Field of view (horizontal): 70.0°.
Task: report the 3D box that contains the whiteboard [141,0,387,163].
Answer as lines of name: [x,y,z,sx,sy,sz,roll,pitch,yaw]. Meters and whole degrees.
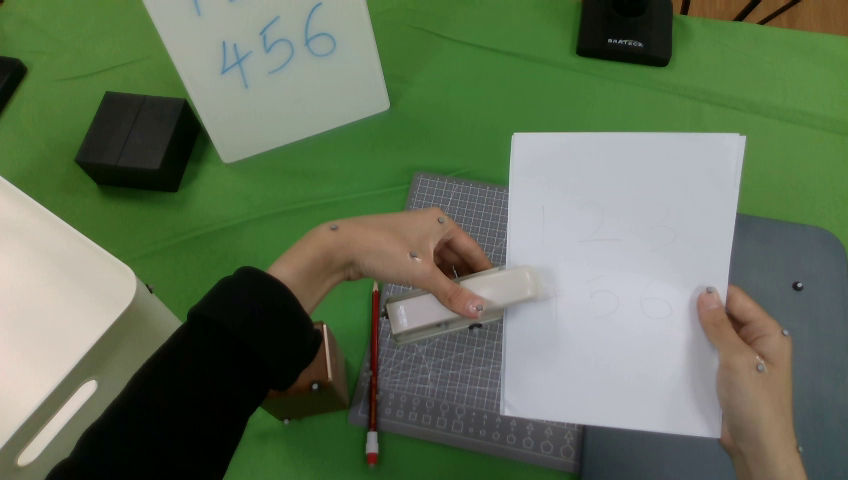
whiteboard: [-0.191,-0.280,0.684,0.217,0.308,0.142,-20,46,-8]

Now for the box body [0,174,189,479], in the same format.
box body: [-0.443,0.071,0.567,0.362,0.161,0.253,30,69,14]

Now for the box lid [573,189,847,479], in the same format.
box lid: [0.297,0.121,0.614,0.263,0.015,0.369,11,66,5]

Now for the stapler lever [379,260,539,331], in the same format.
stapler lever: [0.025,0.040,0.439,0.118,0.040,0.026,-14,78,4]

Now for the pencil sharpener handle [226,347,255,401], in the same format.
pencil sharpener handle: [-0.171,0.127,0.553,0.031,0.068,0.035,-10,48,-3]

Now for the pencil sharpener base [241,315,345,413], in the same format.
pencil sharpener base: [-0.121,0.120,0.569,0.077,0.108,0.061,-10,65,-3]

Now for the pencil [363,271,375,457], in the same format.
pencil: [-0.056,0.120,0.619,0.012,0.012,0.192,-2,65,1]

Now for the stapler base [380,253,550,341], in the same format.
stapler base: [0.029,0.042,0.458,0.130,0.024,0.041,-16,79,9]
